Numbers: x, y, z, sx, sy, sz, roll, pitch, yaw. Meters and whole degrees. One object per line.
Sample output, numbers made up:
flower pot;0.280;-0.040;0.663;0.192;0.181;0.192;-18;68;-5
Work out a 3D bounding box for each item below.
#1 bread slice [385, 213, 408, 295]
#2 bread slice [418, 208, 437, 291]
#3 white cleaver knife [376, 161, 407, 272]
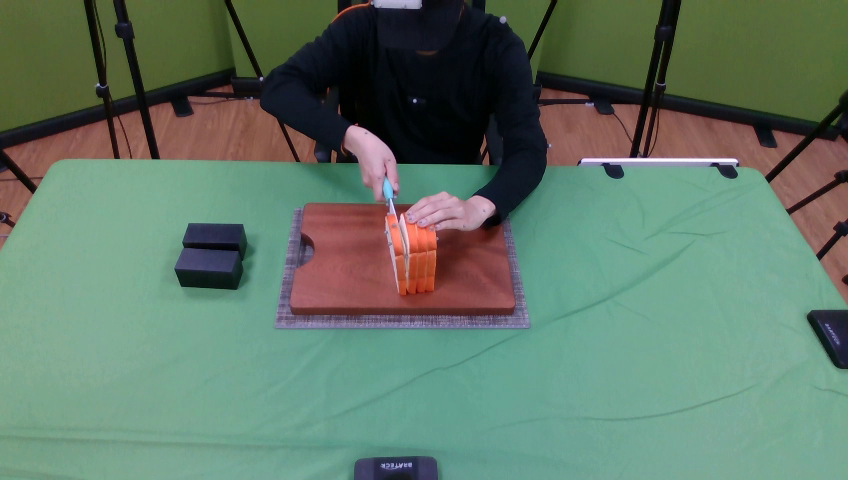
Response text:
bread slice;-0.050;0.018;1.061;0.019;0.132;0.104;-12;46;-7
bread slice;0.006;0.013;1.070;0.018;0.135;0.106;-4;50;-8
white cleaver knife;-0.062;-0.051;1.127;0.021;0.066;0.284;-5;42;-9
